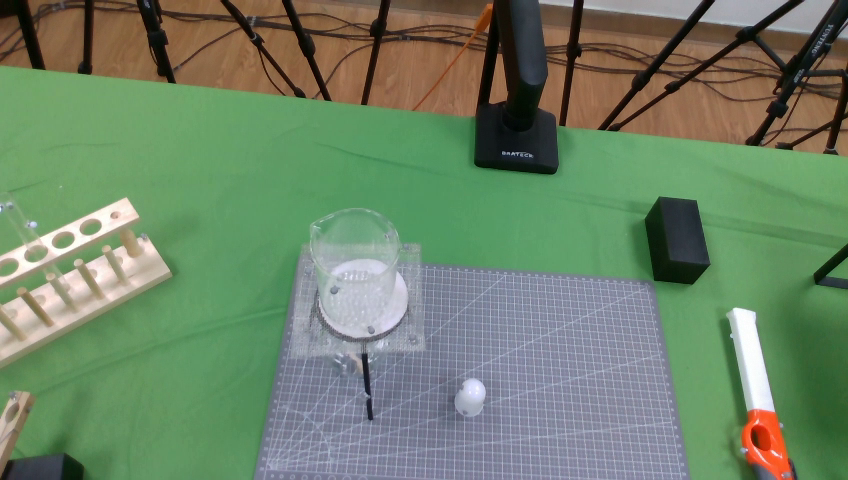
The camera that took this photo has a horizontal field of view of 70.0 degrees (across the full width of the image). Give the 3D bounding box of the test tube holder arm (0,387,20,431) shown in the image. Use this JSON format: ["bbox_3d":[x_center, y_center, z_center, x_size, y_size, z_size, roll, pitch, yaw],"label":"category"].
[{"bbox_3d":[-0.394,0.216,0.533,0.013,0.015,0.177,7,55,-1],"label":"test tube holder arm"}]

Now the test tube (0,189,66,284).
[{"bbox_3d":[-0.407,0.003,0.630,0.017,0.151,0.017,3,52,-4],"label":"test tube"}]

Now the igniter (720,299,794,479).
[{"bbox_3d":[0.370,0.192,0.673,0.057,0.025,0.274,12,57,-10],"label":"igniter"}]

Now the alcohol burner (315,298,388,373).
[{"bbox_3d":[-0.076,0.094,0.641,0.078,0.120,0.077,4,55,-5],"label":"alcohol burner"}]

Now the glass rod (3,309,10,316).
[{"bbox_3d":[-0.463,0.025,0.589,0.008,0.201,0.008,0,53,1],"label":"glass rod"}]

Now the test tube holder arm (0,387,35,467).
[{"bbox_3d":[-0.385,0.180,0.558,0.010,0.015,0.087,7,55,-1],"label":"test tube holder arm"}]

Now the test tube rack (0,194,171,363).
[{"bbox_3d":[-0.414,0.051,0.657,0.242,0.086,0.066,-32,65,-23],"label":"test tube rack"}]

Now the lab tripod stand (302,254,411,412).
[{"bbox_3d":[-0.066,0.089,0.632,0.148,0.132,0.147,3,57,-5],"label":"lab tripod stand"}]

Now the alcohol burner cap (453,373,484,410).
[{"bbox_3d":[0.049,0.161,0.652,0.034,0.048,0.033,1,59,-2],"label":"alcohol burner cap"}]

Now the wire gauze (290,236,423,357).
[{"bbox_3d":[-0.064,0.050,0.581,0.121,0.011,0.124,-1,61,-4],"label":"wire gauze"}]

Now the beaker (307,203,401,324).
[{"bbox_3d":[-0.065,0.024,0.538,0.083,0.101,0.073,26,58,11],"label":"beaker"}]
